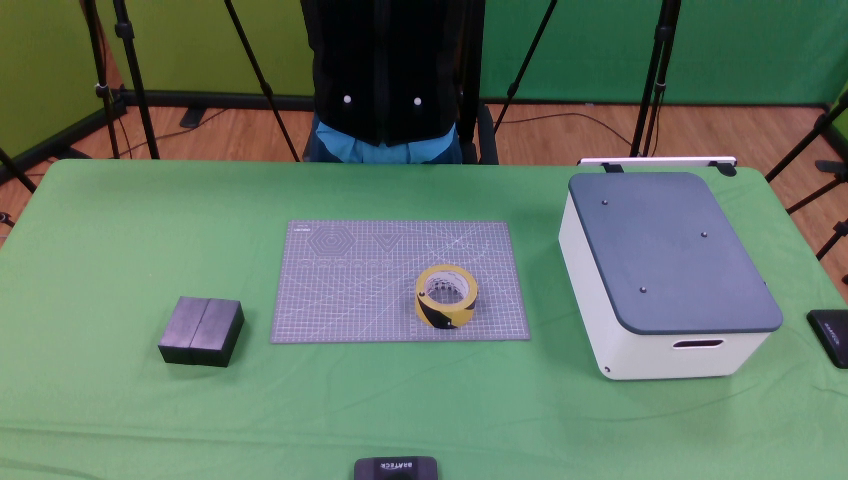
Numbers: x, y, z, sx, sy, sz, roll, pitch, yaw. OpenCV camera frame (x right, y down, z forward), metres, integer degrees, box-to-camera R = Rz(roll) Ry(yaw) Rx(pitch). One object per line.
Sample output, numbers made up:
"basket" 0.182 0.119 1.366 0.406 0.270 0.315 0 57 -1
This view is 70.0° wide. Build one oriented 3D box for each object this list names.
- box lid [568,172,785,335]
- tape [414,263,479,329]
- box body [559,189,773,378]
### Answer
"box lid" 0.407 0.007 1.019 0.263 0.015 0.369 -1 46 -5
"tape" 0.038 0.099 1.079 0.117 0.053 0.116 3 46 -2
"box body" 0.404 0.057 1.074 0.254 0.161 0.361 -2 46 -5
